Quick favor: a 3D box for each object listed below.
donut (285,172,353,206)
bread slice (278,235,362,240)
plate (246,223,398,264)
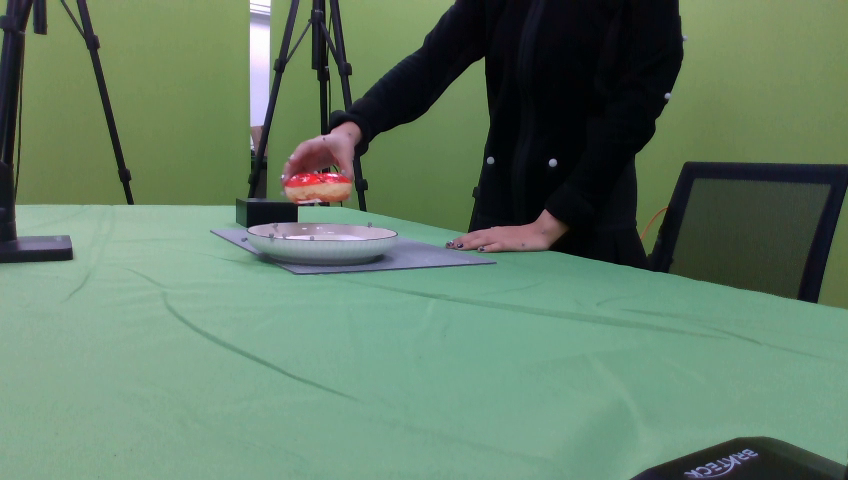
[{"bbox_3d":[-0.152,-0.076,0.877,0.099,0.048,0.099,-3,7,1],"label":"donut"},{"bbox_3d":[-0.139,0.007,0.839,0.132,0.019,0.104,-2,8,-35],"label":"bread slice"},{"bbox_3d":[-0.140,0.004,0.847,0.209,0.038,0.209,2,7,0],"label":"plate"}]
